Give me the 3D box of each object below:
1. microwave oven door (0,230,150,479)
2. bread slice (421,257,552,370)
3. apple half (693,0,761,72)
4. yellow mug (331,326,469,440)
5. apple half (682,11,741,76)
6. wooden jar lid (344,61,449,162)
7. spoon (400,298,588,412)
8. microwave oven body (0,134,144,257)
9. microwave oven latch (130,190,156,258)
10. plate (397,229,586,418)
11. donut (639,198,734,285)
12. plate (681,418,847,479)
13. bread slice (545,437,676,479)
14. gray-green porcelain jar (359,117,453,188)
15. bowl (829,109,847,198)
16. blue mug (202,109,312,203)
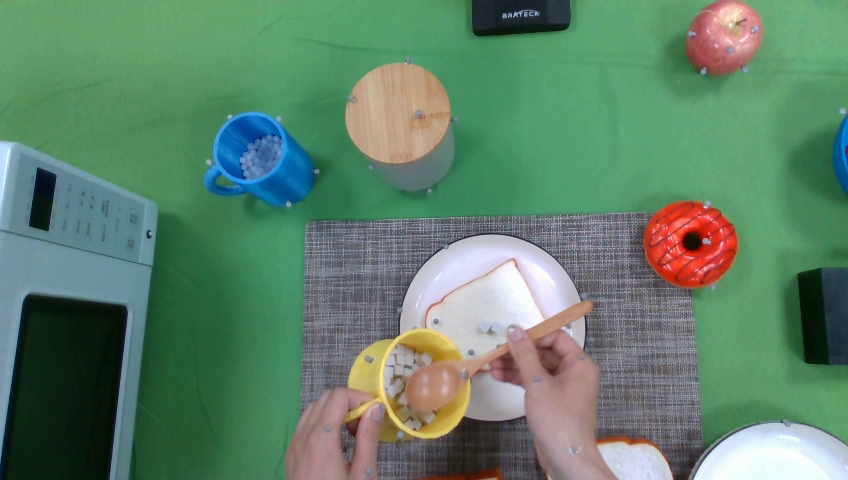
[{"bbox_3d":[-0.367,0.181,0.593,0.039,0.245,0.354,2,81,6],"label":"microwave oven door"},{"bbox_3d":[0.065,0.093,0.685,0.131,0.019,0.104,-27,79,-1],"label":"bread slice"},{"bbox_3d":[0.349,-0.236,0.692,0.053,0.075,0.080,-33,75,-6],"label":"apple half"},{"bbox_3d":[-0.028,0.141,0.569,0.131,0.064,0.099,-17,82,-36],"label":"yellow mug"},{"bbox_3d":[0.317,-0.214,0.690,0.033,0.081,0.081,-33,79,-5],"label":"apple half"},{"bbox_3d":[-0.028,-0.130,0.622,0.108,0.021,0.108,-1,79,6],"label":"wooden jar lid"},{"bbox_3d":[0.066,0.103,0.559,0.194,0.022,0.041,-28,73,4],"label":"spoon"},{"bbox_3d":[-0.509,0.134,0.619,0.326,0.261,0.440,2,82,5],"label":"microwave oven body"},{"bbox_3d":[-0.343,-0.019,0.725,0.030,0.029,0.079,4,82,6],"label":"microwave oven latch"},{"bbox_3d":[0.074,0.092,0.683,0.207,0.039,0.207,-1,81,6],"label":"plate"},{"bbox_3d":[0.290,0.001,0.672,0.099,0.048,0.098,-1,82,6],"label":"donut"},{"bbox_3d":[0.366,0.289,0.628,0.209,0.038,0.208,-1,81,6],"label":"plate"},{"bbox_3d":[0.198,0.262,0.622,0.135,0.018,0.106,-6,77,-15],"label":"bread slice"},{"bbox_3d":[-0.021,-0.119,0.684,0.106,0.127,0.105,-1,81,6],"label":"gray-green porcelain jar"},{"bbox_3d":[0.504,-0.087,0.651,0.151,0.077,0.151,-1,81,6],"label":"bowl"},{"bbox_3d":[-0.199,-0.087,0.706,0.116,0.106,0.082,-26,79,1],"label":"blue mug"}]
